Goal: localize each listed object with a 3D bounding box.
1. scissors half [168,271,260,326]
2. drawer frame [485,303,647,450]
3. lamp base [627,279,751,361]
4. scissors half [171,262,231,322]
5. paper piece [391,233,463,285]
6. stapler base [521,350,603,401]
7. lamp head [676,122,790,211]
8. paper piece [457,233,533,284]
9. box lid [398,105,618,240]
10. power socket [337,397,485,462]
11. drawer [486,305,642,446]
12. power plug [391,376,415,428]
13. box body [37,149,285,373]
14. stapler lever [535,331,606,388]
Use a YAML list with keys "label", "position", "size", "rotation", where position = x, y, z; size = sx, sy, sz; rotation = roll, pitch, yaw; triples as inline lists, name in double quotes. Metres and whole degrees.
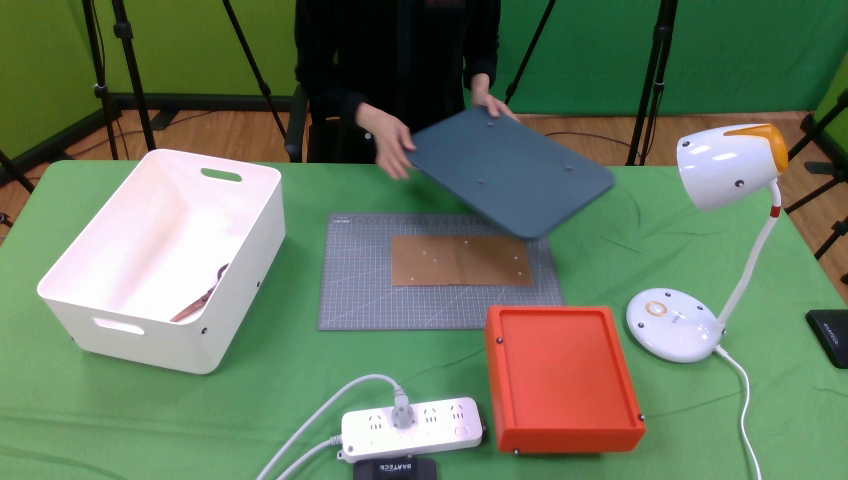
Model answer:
- label: "scissors half"
  position: [-0.369, 0.105, 1.071]
  size: [0.175, 0.013, 0.040]
  rotation: [-29, 68, -28]
- label: "drawer frame"
  position: [0.204, 0.202, 0.917]
  size: [0.202, 0.083, 0.212]
  rotation: [1, 47, -4]
- label: "lamp base"
  position: [0.460, 0.100, 1.027]
  size: [0.178, 0.181, 0.160]
  rotation: [27, 51, 17]
- label: "scissors half"
  position: [-0.383, 0.092, 1.076]
  size: [0.040, 0.013, 0.175]
  rotation: [32, 54, 14]
- label: "paper piece"
  position: [0.004, 0.035, 1.171]
  size: [0.135, 0.004, 0.135]
  rotation: [1, 46, -4]
- label: "stapler base"
  position: [0.217, 0.203, 0.942]
  size: [0.130, 0.024, 0.041]
  rotation: [26, 33, 16]
- label: "lamp head"
  position: [0.423, -0.104, 0.819]
  size: [0.122, 0.113, 0.112]
  rotation: [-13, 33, 40]
- label: "paper piece"
  position: [0.136, 0.035, 1.182]
  size: [0.136, 0.009, 0.137]
  rotation: [2, 45, -6]
- label: "box lid"
  position: [0.153, -0.146, 1.163]
  size: [0.263, 0.015, 0.369]
  rotation: [-32, 52, -29]
- label: "power socket"
  position: [-0.018, 0.285, 0.915]
  size: [0.227, 0.033, 0.071]
  rotation: [-4, 46, -8]
- label: "drawer"
  position: [0.202, 0.200, 0.919]
  size: [0.195, 0.073, 0.210]
  rotation: [2, 47, -4]
- label: "power plug"
  position: [-0.030, 0.249, 0.917]
  size: [0.035, 0.053, 0.072]
  rotation: [3, 46, 0]
- label: "box body"
  position: [-0.414, 0.029, 1.039]
  size: [0.254, 0.161, 0.362]
  rotation: [10, 46, 5]
- label: "stapler lever"
  position: [0.225, 0.181, 0.929]
  size: [0.118, 0.040, 0.027]
  rotation: [27, 34, 15]
